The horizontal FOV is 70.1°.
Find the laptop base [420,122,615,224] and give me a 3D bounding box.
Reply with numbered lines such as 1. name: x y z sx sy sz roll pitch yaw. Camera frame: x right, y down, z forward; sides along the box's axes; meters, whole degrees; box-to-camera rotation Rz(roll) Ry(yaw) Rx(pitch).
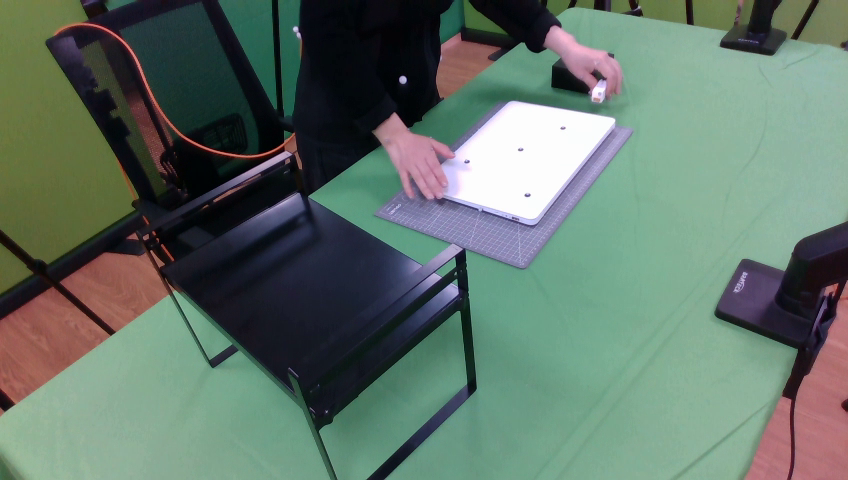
1. laptop base: 0.184 -0.156 1.132 0.234 0.023 0.355 18 46 31

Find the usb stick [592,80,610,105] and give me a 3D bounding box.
1. usb stick: 0.353 -0.294 1.212 0.021 0.027 0.059 16 54 29

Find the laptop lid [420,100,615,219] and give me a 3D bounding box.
1. laptop lid: 0.180 -0.166 1.125 0.240 0.013 0.357 20 47 31
